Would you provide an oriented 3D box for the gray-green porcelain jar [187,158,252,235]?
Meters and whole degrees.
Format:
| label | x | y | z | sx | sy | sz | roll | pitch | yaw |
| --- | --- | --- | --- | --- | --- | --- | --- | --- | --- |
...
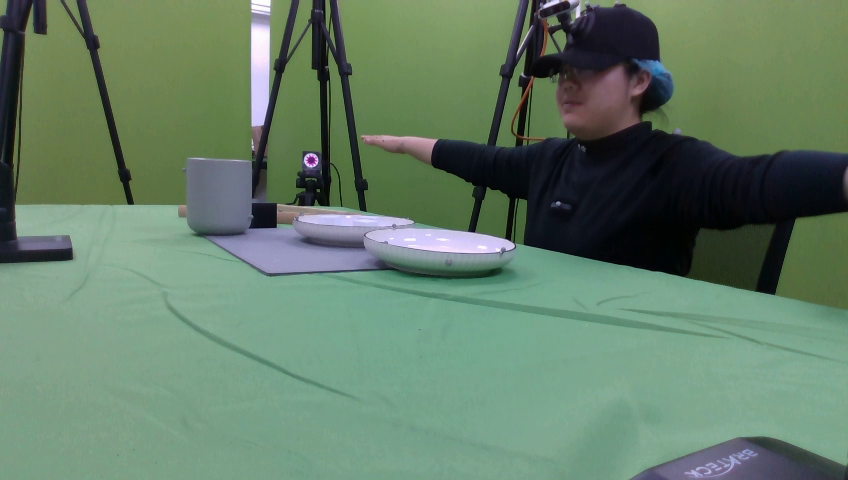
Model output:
| label | x | y | z | sx | sy | sz | roll | pitch | yaw |
| --- | --- | --- | --- | --- | --- | --- | --- | --- | --- |
| gray-green porcelain jar | -0.350 | -0.075 | 1.036 | 0.106 | 0.126 | 0.106 | 3 | 8 | 0 |

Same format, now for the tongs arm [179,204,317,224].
| label | x | y | z | sx | sy | sz | roll | pitch | yaw |
| --- | --- | --- | --- | --- | --- | --- | --- | --- | --- |
| tongs arm | -0.330 | -0.051 | 1.270 | 0.387 | 0.028 | 0.028 | 4 | 5 | 6 |

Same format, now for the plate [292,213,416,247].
| label | x | y | z | sx | sy | sz | roll | pitch | yaw |
| --- | --- | --- | --- | --- | --- | --- | --- | --- | --- |
| plate | -0.118 | -0.017 | 1.024 | 0.208 | 0.039 | 0.207 | 2 | 8 | 0 |

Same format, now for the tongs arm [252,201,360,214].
| label | x | y | z | sx | sy | sz | roll | pitch | yaw |
| --- | --- | --- | --- | --- | --- | --- | --- | --- | --- |
| tongs arm | -0.307 | -0.064 | 1.348 | 0.384 | 0.026 | 0.051 | 7 | 9 | 20 |

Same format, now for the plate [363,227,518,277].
| label | x | y | z | sx | sy | sz | roll | pitch | yaw |
| --- | --- | --- | --- | --- | --- | --- | --- | --- | --- |
| plate | 0.022 | 0.016 | 0.817 | 0.209 | 0.038 | 0.209 | 3 | 9 | 0 |
